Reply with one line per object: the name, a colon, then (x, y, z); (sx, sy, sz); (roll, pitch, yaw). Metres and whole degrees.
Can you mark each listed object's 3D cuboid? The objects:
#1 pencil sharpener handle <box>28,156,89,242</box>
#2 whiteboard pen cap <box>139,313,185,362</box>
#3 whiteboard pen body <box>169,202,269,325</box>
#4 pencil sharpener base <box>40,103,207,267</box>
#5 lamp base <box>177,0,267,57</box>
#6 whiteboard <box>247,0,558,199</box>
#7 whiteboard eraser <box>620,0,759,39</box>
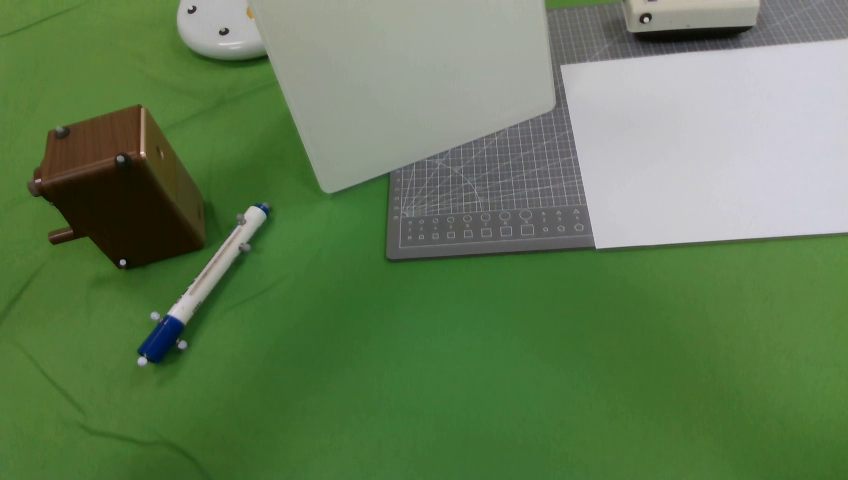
pencil sharpener handle: (-0.271, -0.027, 0.440); (0.030, 0.068, 0.035); (-17, 42, -4)
whiteboard pen cap: (-0.183, 0.068, 0.425); (0.018, 0.018, 0.033); (16, 54, 19)
whiteboard pen body: (-0.159, 0.024, 0.458); (0.017, 0.017, 0.140); (16, 56, 19)
pencil sharpener base: (-0.222, -0.037, 0.456); (0.077, 0.108, 0.060); (-17, 54, -4)
lamp base: (-0.205, -0.303, 0.602); (0.177, 0.182, 0.160); (32, 64, 30)
whiteboard: (-0.038, -0.227, 0.482); (0.217, 0.308, 0.142); (-21, 35, -7)
whiteboard eraser: (0.243, -0.215, 0.560); (0.112, 0.042, 0.055); (-1, 55, 7)
